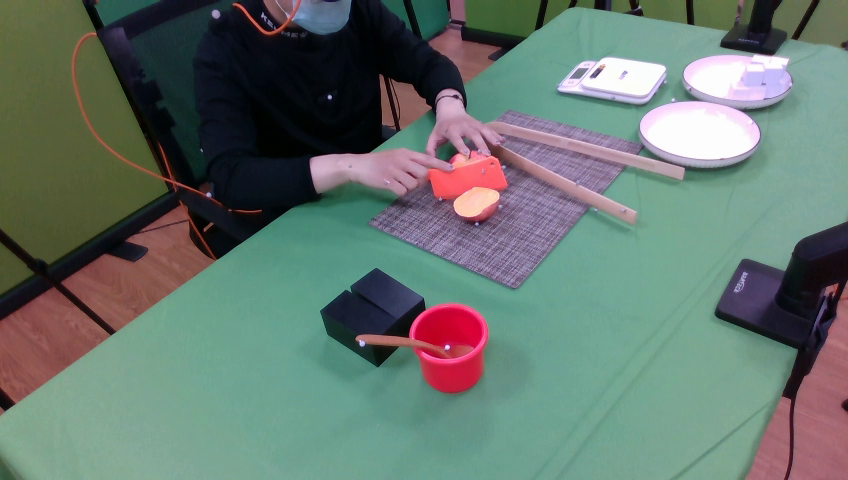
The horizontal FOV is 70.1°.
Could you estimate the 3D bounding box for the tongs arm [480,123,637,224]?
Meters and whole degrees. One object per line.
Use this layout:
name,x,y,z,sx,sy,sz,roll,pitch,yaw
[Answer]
tongs arm,0.228,-0.128,1.080,0.051,0.026,0.381,-33,46,-26

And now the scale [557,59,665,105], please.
scale,0.407,-0.348,1.314,0.199,0.032,0.149,19,47,28

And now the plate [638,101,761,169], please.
plate,0.500,-0.189,1.111,0.209,0.038,0.208,-4,41,4

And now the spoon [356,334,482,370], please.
spoon,-0.001,0.130,0.731,0.195,0.021,0.041,21,28,-39

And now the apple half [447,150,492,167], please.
apple half,0.081,-0.123,1.064,0.081,0.075,0.053,-6,37,6

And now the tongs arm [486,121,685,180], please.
tongs arm,0.287,-0.170,1.123,0.384,0.028,0.028,21,52,29

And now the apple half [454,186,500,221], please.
apple half,0.092,-0.056,1.015,0.081,0.033,0.081,-16,36,13

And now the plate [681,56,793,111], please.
plate,0.636,-0.317,1.239,0.207,0.039,0.206,-4,40,4

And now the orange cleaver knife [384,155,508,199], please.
orange cleaver knife,0.039,-0.104,1.045,0.211,0.077,0.012,-5,38,5
